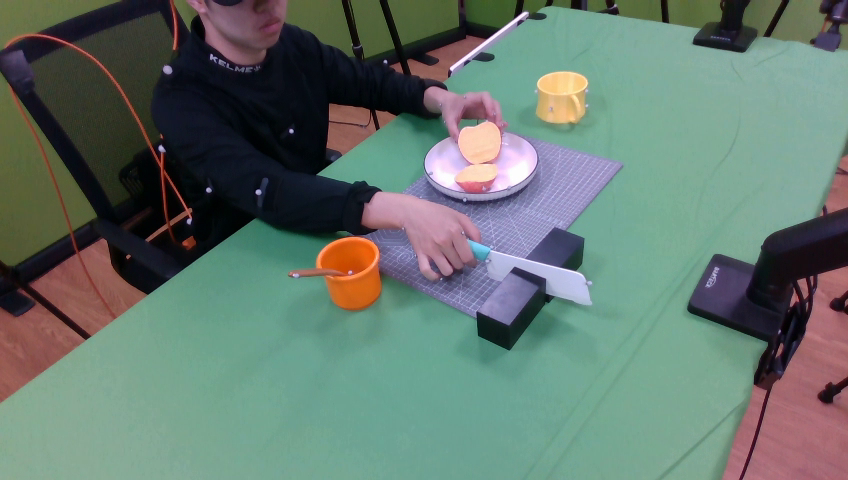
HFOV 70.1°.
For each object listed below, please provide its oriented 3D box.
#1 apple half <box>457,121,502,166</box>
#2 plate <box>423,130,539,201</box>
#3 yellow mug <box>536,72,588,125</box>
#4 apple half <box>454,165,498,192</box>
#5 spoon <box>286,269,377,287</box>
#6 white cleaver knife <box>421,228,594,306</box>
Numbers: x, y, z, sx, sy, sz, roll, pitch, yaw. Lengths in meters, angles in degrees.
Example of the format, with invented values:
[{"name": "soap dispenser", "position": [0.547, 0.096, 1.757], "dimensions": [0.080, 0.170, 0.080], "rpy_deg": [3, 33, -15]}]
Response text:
[{"name": "apple half", "position": [0.104, -0.173, 1.103], "dimensions": [0.080, 0.053, 0.074], "rpy_deg": [-17, 82, 9]}, {"name": "plate", "position": [0.102, -0.132, 1.092], "dimensions": [0.209, 0.038, 0.208], "rpy_deg": [-4, 40, 4]}, {"name": "yellow mug", "position": [0.285, -0.281, 1.222], "dimensions": [0.100, 0.064, 0.130], "rpy_deg": [-16, 42, -9]}, {"name": "apple half", "position": [0.094, -0.103, 1.051], "dimensions": [0.081, 0.033, 0.081], "rpy_deg": [-9, 27, 5]}, {"name": "spoon", "position": [-0.125, 0.049, 0.831], "dimensions": [0.041, 0.195, 0.021], "rpy_deg": [22, 92, 28]}, {"name": "white cleaver knife", "position": [0.108, 0.039, 0.866], "dimensions": [0.284, 0.066, 0.021], "rpy_deg": [18, 45, 37]}]
